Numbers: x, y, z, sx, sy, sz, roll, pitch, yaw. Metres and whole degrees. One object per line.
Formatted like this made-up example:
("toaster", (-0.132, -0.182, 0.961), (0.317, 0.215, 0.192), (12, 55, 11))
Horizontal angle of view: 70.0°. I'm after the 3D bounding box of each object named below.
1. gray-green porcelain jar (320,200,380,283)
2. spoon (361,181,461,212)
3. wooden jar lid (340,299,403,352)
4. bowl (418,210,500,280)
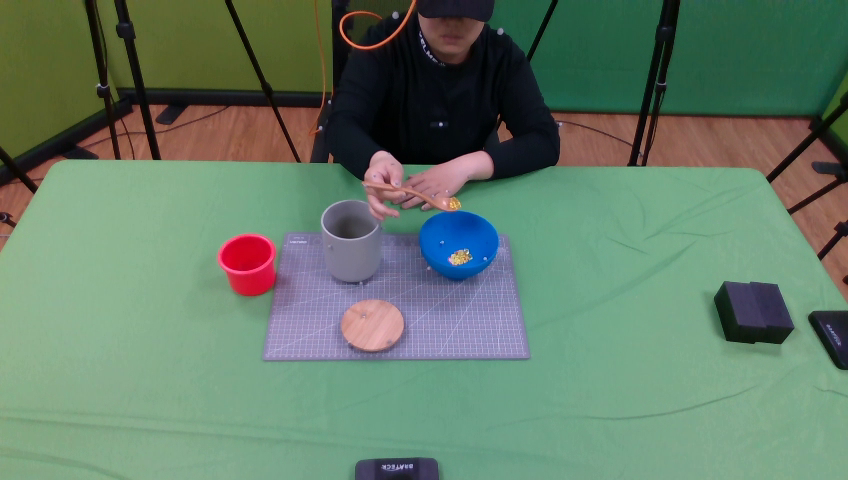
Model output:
("gray-green porcelain jar", (-0.132, 0.007, 1.106), (0.106, 0.127, 0.105), (2, 46, -2))
("spoon", (-0.020, -0.078, 1.042), (0.194, 0.022, 0.041), (15, 36, -32))
("wooden jar lid", (-0.090, 0.150, 1.046), (0.108, 0.021, 0.107), (3, 47, -3))
("bowl", (0.062, 0.022, 1.140), (0.151, 0.077, 0.150), (2, 46, -2))
